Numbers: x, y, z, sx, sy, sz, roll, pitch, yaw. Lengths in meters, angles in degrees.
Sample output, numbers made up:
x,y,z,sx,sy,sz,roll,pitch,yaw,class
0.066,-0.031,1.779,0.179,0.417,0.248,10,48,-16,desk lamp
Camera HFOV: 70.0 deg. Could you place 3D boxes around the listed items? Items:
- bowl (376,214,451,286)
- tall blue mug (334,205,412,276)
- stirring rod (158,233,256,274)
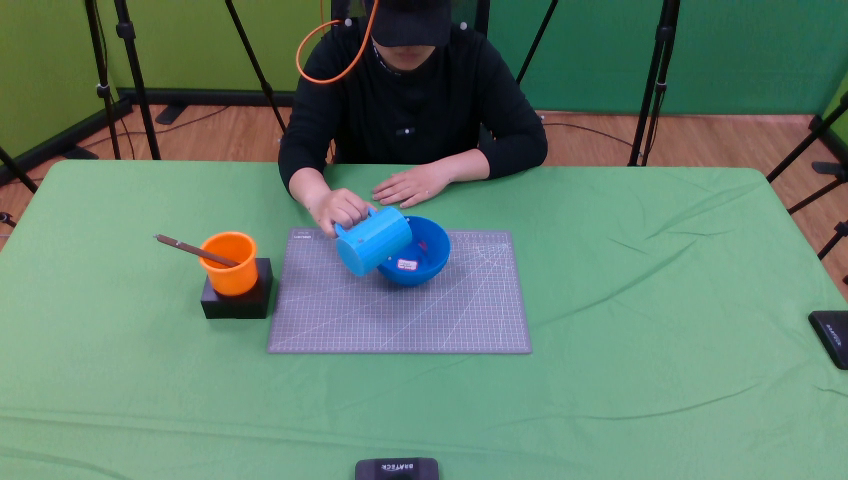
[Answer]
x,y,z,sx,sy,sz,roll,pitch,yaw,class
-0.028,0.031,1.122,0.151,0.077,0.150,2,46,-2,bowl
-0.093,-0.012,1.021,0.108,0.078,0.107,-35,94,-26,tall blue mug
-0.353,0.024,1.000,0.177,0.006,0.014,26,32,-40,stirring rod
